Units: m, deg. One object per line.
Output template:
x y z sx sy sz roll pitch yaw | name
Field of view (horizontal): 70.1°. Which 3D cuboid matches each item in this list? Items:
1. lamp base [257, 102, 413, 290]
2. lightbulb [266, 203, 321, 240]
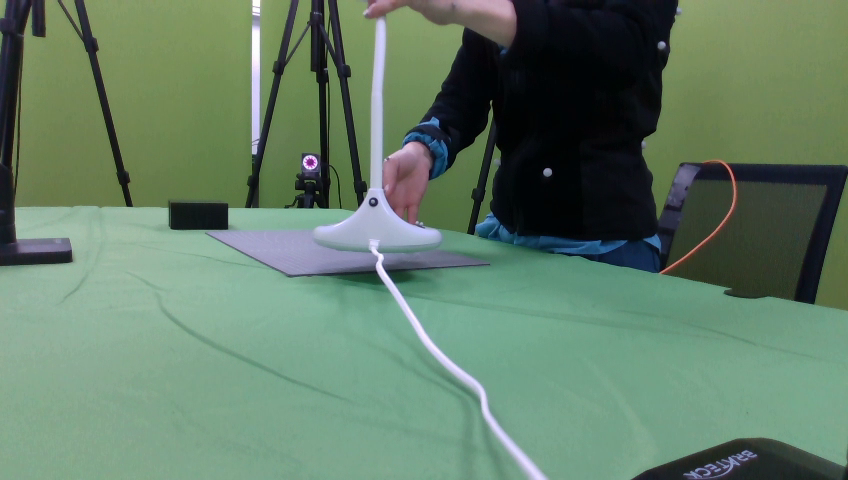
-0.086 -0.046 0.616 0.161 0.180 0.178 -1 9 -20 | lamp base
-0.224 -0.026 1.031 0.059 0.059 0.108 8 25 37 | lightbulb
